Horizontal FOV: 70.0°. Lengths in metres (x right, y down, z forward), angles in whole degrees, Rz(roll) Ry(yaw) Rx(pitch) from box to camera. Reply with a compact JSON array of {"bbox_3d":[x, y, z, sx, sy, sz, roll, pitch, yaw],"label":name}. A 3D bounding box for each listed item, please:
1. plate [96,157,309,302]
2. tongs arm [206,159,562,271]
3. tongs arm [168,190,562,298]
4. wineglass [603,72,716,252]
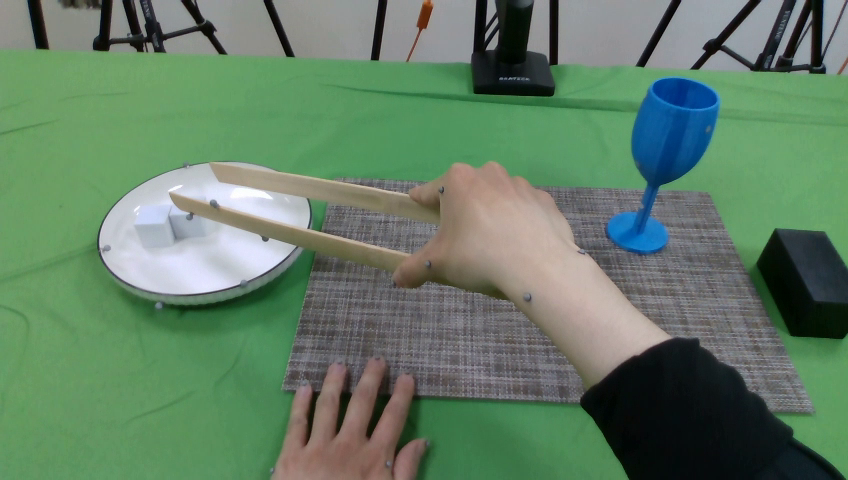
[{"bbox_3d":[-0.222,-0.012,0.627,0.209,0.038,0.207,1,43,-1],"label":"plate"},{"bbox_3d":[-0.059,-0.033,0.520,0.384,0.028,0.028,14,44,31],"label":"tongs arm"},{"bbox_3d":[-0.076,-0.011,0.502,0.382,0.027,0.050,15,49,32],"label":"tongs arm"},{"bbox_3d":[0.232,-0.075,0.609,0.074,0.174,0.073,1,43,-1],"label":"wineglass"}]
